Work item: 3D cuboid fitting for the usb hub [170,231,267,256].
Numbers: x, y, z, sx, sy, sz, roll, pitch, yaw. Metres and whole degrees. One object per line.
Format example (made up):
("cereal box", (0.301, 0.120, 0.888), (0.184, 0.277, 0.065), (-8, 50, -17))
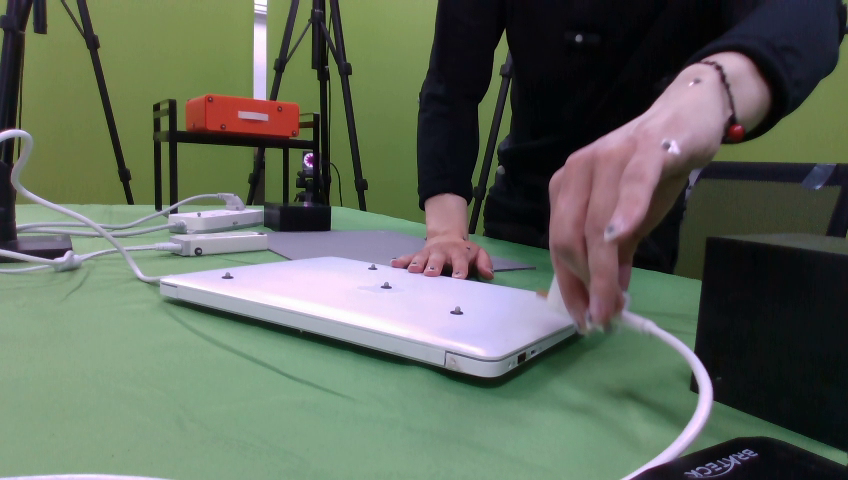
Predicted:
("usb hub", (-0.290, 0.005, 0.862), (0.049, 0.025, 0.126), (10, 11, 42))

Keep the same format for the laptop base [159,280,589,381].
("laptop base", (-0.039, 0.059, 0.555), (0.352, 0.023, 0.237), (8, 7, 33))

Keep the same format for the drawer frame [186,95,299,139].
("drawer frame", (-0.417, -0.277, 1.378), (0.203, 0.082, 0.212), (-3, 8, -32))

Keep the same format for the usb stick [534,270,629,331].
("usb stick", (0.095, 0.035, 0.378), (0.021, 0.027, 0.059), (16, -1, -40))

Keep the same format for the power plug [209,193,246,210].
("power plug", (-0.388, -0.067, 1.205), (0.072, 0.052, 0.035), (3, 8, 26))

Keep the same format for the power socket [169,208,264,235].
("power socket", (-0.381, -0.038, 1.128), (0.072, 0.032, 0.227), (4, 8, 16))

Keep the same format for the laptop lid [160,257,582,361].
("laptop lid", (-0.037, 0.047, 0.555), (0.355, 0.013, 0.243), (8, 7, 35))

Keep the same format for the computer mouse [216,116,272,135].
("computer mouse", (-0.402, -0.257, 1.353), (0.118, 0.041, 0.062), (-6, 15, -35))

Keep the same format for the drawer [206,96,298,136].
("drawer", (-0.414, -0.275, 1.376), (0.195, 0.073, 0.210), (-3, 9, -31))
